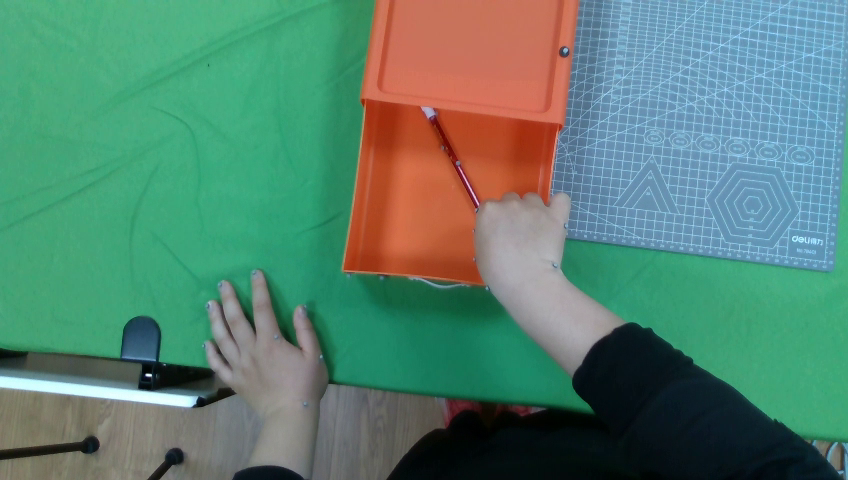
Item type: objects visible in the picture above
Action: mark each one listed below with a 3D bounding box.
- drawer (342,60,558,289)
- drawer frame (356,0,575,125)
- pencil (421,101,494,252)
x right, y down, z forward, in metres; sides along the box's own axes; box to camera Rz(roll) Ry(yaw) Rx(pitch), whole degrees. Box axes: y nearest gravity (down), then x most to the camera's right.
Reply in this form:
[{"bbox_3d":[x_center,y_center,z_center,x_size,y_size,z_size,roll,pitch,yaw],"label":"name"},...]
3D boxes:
[{"bbox_3d":[0.029,-0.062,0.613,0.194,0.073,0.211,6,88,3],"label":"drawer"},{"bbox_3d":[0.047,-0.225,0.620,0.201,0.083,0.213,7,85,3],"label":"drawer frame"},{"bbox_3d":[0.034,-0.076,0.639,0.012,0.012,0.194,-24,88,0],"label":"pencil"}]
